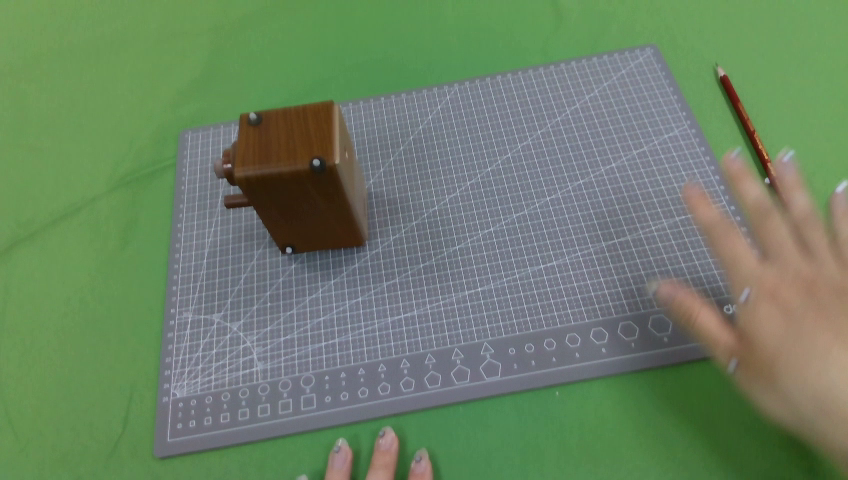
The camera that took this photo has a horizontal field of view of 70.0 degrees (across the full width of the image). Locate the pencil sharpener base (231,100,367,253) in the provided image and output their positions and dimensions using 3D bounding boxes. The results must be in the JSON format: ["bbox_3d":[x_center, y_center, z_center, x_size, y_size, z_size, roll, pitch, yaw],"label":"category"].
[{"bbox_3d":[-0.090,-0.043,0.452,0.076,0.108,0.061,-7,58,3],"label":"pencil sharpener base"}]

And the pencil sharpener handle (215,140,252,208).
[{"bbox_3d":[-0.142,-0.044,0.444,0.030,0.068,0.035,-7,63,3],"label":"pencil sharpener handle"}]

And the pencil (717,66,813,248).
[{"bbox_3d":[0.272,-0.076,0.493,0.012,0.012,0.192,-7,57,3],"label":"pencil"}]
